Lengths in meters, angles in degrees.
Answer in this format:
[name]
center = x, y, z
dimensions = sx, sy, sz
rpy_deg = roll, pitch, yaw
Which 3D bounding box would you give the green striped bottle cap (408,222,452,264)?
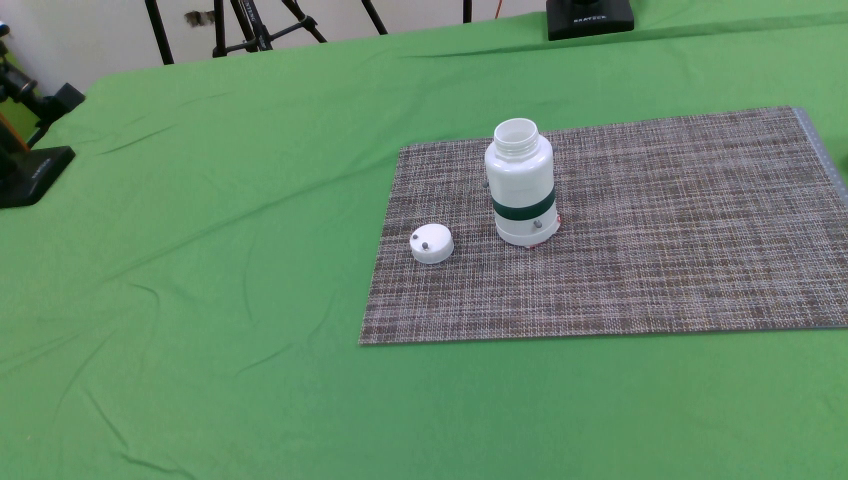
[green striped bottle cap]
center = 0.006, 0.003, 0.621
dimensions = 0.044, 0.020, 0.044
rpy_deg = -6, 45, 6

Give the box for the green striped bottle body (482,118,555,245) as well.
[green striped bottle body]
center = 0.091, -0.057, 0.579
dimensions = 0.063, 0.120, 0.062
rpy_deg = -8, 45, 8
